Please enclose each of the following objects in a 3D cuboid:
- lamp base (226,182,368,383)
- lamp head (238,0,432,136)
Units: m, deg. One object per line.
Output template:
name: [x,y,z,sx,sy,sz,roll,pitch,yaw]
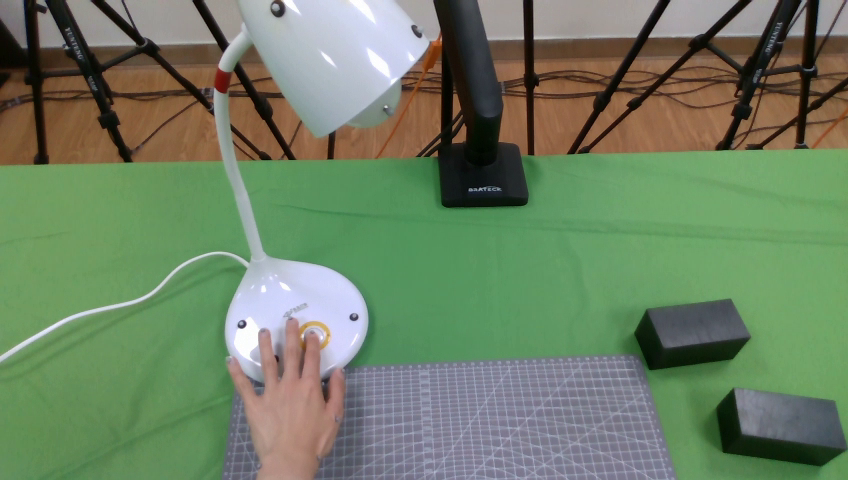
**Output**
lamp base: [-0.153,0.035,0.642,0.177,0.182,0.160,35,58,28]
lamp head: [-0.075,-0.152,0.433,0.124,0.112,0.112,45,54,-18]
